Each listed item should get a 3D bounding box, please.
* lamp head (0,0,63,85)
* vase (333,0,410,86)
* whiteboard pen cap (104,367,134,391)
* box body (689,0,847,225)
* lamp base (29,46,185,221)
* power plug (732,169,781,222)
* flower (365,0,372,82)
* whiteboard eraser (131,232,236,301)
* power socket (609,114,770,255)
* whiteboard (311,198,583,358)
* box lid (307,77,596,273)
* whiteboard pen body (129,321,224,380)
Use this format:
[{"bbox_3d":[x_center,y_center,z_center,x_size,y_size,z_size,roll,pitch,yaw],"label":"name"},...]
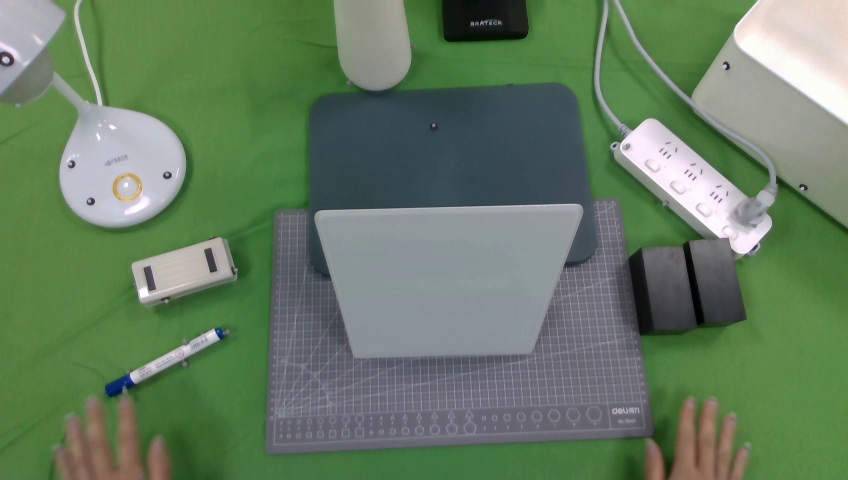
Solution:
[{"bbox_3d":[-0.352,-0.176,0.440,0.112,0.124,0.111,-26,41,25],"label":"lamp head"},{"bbox_3d":[-0.066,-0.280,0.753,0.098,0.201,0.097,1,71,-1],"label":"vase"},{"bbox_3d":[-0.356,0.162,0.710,0.033,0.018,0.018,-29,75,-6],"label":"whiteboard pen cap"},{"bbox_3d":[0.556,-0.182,0.751,0.362,0.161,0.254,41,77,11],"label":"box body"},{"bbox_3d":[-0.398,-0.132,0.713,0.160,0.181,0.178,-32,74,-10],"label":"lamp base"},{"bbox_3d":[0.416,-0.049,0.753,0.072,0.053,0.035,-31,75,-14],"label":"power plug"},{"bbox_3d":[-0.061,-0.320,0.679,0.044,0.364,0.038,35,59,16],"label":"flower"},{"bbox_3d":[-0.292,0.032,0.738,0.113,0.042,0.055,-18,77,-6],"label":"whiteboard eraser"},{"bbox_3d":[0.343,-0.073,0.784,0.072,0.033,0.225,-42,78,-12],"label":"power socket"},{"bbox_3d":[0.019,-0.001,0.638,0.217,0.308,0.142,0,58,0],"label":"whiteboard"},{"bbox_3d":[0.033,-0.091,0.796,0.372,0.015,0.261,-3,73,-2],"label":"box lid"},{"bbox_3d":[-0.304,0.136,0.719,0.141,0.017,0.017,-29,75,-7],"label":"whiteboard pen body"}]
